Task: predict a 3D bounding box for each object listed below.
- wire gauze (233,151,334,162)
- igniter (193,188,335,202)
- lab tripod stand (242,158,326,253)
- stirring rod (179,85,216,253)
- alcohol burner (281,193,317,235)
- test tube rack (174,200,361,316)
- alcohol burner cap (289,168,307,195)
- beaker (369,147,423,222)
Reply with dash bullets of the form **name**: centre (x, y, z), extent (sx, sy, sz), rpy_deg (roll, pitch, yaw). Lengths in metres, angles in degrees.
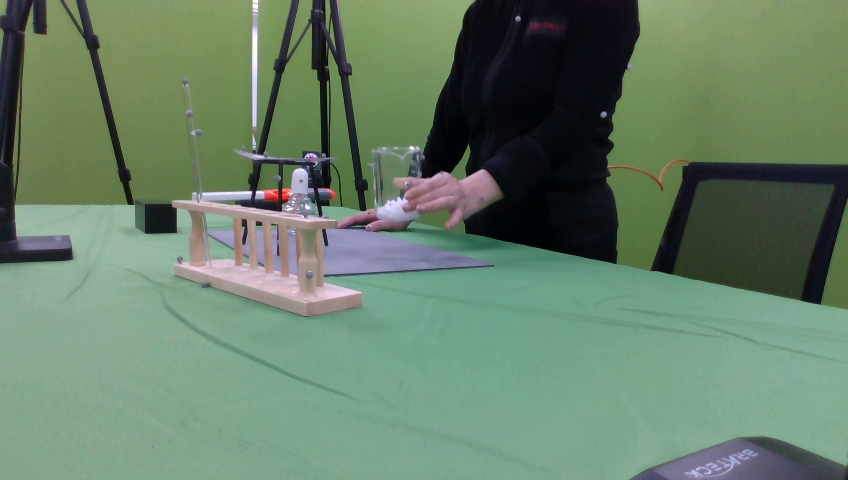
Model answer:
- **wire gauze**: centre (-0.205, -0.120, 0.887), extent (0.122, 0.011, 0.124), rpy_deg (0, 7, -32)
- **igniter**: centre (-0.312, -0.089, 1.208), extent (0.278, 0.025, 0.057), rpy_deg (-5, 13, -31)
- **lab tripod stand**: centre (-0.207, -0.054, 0.895), extent (0.148, 0.131, 0.148), rpy_deg (3, 5, 0)
- **stirring rod**: centre (-0.237, -0.073, 0.634), extent (0.006, 0.176, 0.014), rpy_deg (0, 9, 42)
- **alcohol burner**: centre (-0.225, -0.069, 1.086), extent (0.078, 0.119, 0.078), rpy_deg (2, 6, 0)
- **test tube rack**: centre (-0.169, 0.010, 0.622), extent (0.241, 0.085, 0.067), rpy_deg (9, 9, 41)
- **alcohol burner cap**: centre (-0.224, -0.105, 1.081), extent (0.034, 0.048, 0.034), rpy_deg (3, 3, 0)
- **beaker**: centre (-0.037, -0.080, 0.864), extent (0.074, 0.100, 0.083), rpy_deg (-5, 14, -13)
